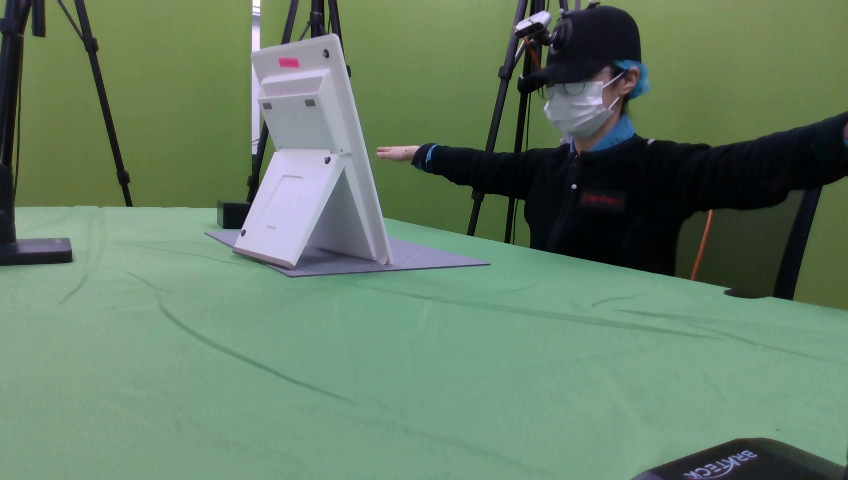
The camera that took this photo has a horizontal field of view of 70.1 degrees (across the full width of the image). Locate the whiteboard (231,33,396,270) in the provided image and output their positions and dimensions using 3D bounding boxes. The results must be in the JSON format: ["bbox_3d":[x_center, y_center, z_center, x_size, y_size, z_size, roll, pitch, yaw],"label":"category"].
[{"bbox_3d":[-0.193,-0.094,0.805,0.144,0.305,0.216,-29,25,-35],"label":"whiteboard"}]

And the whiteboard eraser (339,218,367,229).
[{"bbox_3d":[-0.146,-0.036,1.246,0.041,0.019,0.101,1,5,9],"label":"whiteboard eraser"}]
